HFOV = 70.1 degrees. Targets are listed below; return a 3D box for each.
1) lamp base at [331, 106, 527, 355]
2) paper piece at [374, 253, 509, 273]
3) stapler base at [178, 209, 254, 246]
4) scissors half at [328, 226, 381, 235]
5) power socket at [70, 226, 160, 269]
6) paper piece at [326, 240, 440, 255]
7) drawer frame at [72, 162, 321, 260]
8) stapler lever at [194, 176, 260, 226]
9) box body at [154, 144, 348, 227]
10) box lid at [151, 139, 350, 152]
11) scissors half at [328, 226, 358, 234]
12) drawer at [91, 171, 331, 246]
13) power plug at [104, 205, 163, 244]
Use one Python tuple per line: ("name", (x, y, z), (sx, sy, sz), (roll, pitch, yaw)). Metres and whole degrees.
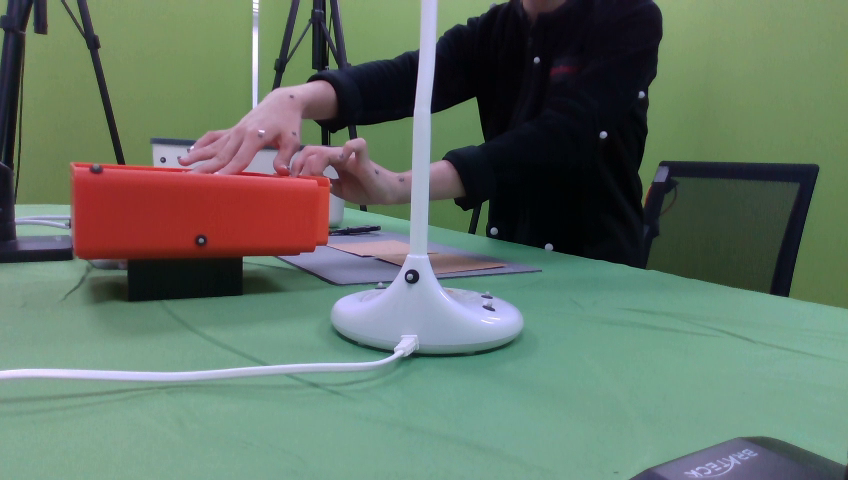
("lamp base", (0.006, -0.012, 0.478), (0.161, 0.180, 0.179), (2, 10, 2))
("paper piece", (0.021, 0.029, 0.829), (0.139, 0.008, 0.135), (-1, 11, -36))
("stapler base", (-0.210, -0.019, 0.633), (0.041, 0.024, 0.130), (19, 9, -2))
("scissors half", (-0.152, -0.015, 1.079), (0.176, 0.013, 0.040), (-7, 2, -33))
("power socket", (-0.409, 0.004, 0.793), (0.072, 0.032, 0.225), (-2, 8, -38))
("paper piece", (-0.068, 0.011, 0.936), (0.136, 0.004, 0.134), (-2, 9, -33))
("drawer frame", (-0.241, -0.035, 0.629), (0.215, 0.082, 0.200), (-1, 9, -31))
("stapler lever", (-0.200, -0.043, 0.627), (0.027, 0.040, 0.118), (19, 9, -2))
("box body", (-0.357, -0.119, 1.264), (0.365, 0.160, 0.253), (0, 7, -18))
("box lid", (-0.352, -0.191, 1.255), (0.373, 0.015, 0.262), (0, 8, -18))
("scissors half", (-0.166, -0.015, 1.094), (0.040, 0.013, 0.176), (3, 7, 39))
("drawer", (-0.230, -0.038, 0.638), (0.213, 0.073, 0.193), (-1, 9, -30))
("power plug", (-0.390, -0.021, 0.816), (0.073, 0.052, 0.035), (-1, 8, -28))
